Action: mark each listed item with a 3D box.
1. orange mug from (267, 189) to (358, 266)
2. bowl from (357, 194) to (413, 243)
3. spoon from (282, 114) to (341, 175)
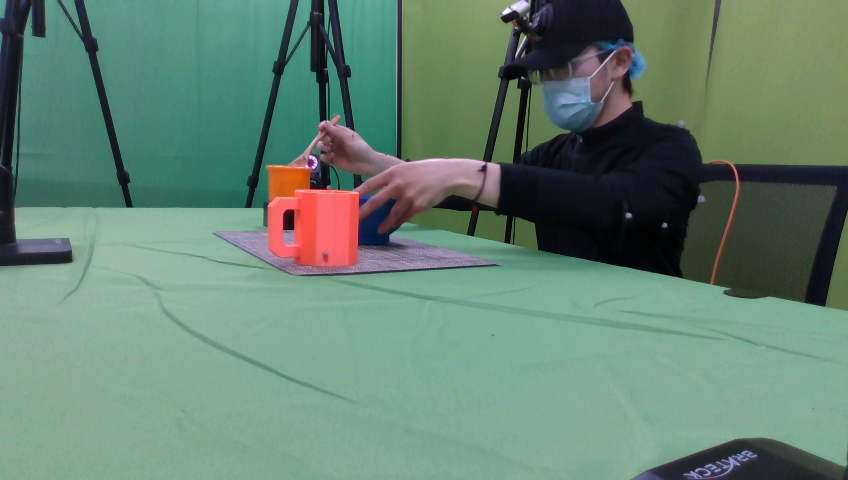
[{"bbox_3d":[-0.145,-0.019,0.797,0.127,0.100,0.083,3,6,-37],"label":"orange mug"},{"bbox_3d":[-0.094,-0.037,1.029,0.151,0.077,0.151,1,6,0],"label":"bowl"},{"bbox_3d":[-0.223,-0.197,1.230,0.041,0.194,0.022,21,-30,20],"label":"spoon"}]
